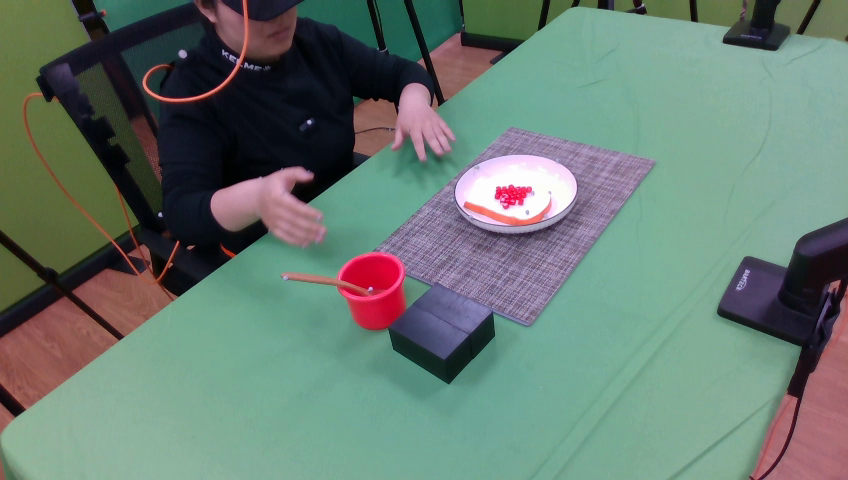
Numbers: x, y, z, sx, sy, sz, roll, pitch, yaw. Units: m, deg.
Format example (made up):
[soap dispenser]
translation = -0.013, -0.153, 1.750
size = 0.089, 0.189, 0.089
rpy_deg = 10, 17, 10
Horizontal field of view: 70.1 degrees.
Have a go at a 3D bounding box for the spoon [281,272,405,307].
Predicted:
[spoon]
translation = -0.108, 0.065, 0.836
size = 0.195, 0.021, 0.041
rpy_deg = 20, 22, -37

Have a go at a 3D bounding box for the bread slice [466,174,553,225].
[bread slice]
translation = 0.152, -0.067, 1.022
size = 0.130, 0.019, 0.105
rpy_deg = 22, 50, 33

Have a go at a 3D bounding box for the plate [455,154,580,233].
[plate]
translation = 0.158, -0.076, 1.028
size = 0.209, 0.038, 0.208
rpy_deg = -5, 40, 5
